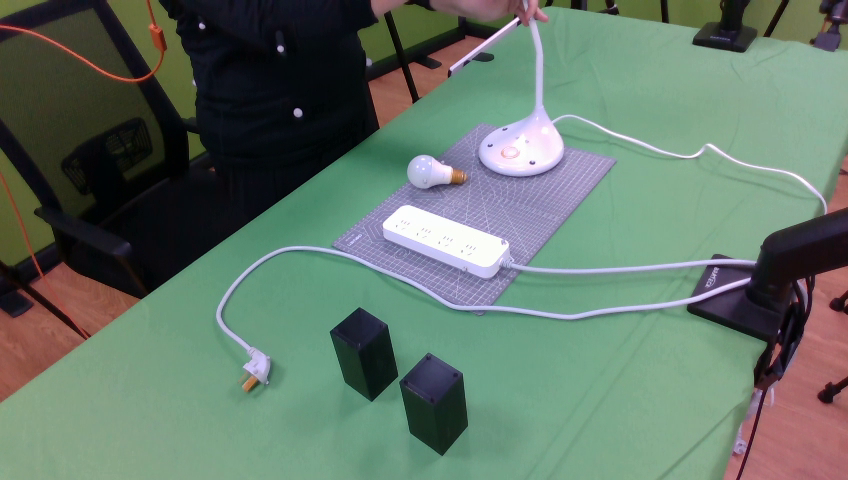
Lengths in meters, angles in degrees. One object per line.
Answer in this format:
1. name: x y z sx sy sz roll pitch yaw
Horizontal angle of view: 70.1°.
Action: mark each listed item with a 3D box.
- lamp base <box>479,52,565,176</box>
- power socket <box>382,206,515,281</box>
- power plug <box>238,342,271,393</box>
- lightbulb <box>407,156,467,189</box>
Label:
1. lamp base: 0.181 -0.235 1.093 0.159 0.181 0.179 18 44 27
2. power socket: 0.032 0.002 0.950 0.225 0.033 0.072 21 49 29
3. power plug: -0.230 0.172 0.801 0.072 0.035 0.053 10 52 50
4. lightbulb: 0.023 -0.117 1.081 0.108 0.059 0.059 7 40 -7
